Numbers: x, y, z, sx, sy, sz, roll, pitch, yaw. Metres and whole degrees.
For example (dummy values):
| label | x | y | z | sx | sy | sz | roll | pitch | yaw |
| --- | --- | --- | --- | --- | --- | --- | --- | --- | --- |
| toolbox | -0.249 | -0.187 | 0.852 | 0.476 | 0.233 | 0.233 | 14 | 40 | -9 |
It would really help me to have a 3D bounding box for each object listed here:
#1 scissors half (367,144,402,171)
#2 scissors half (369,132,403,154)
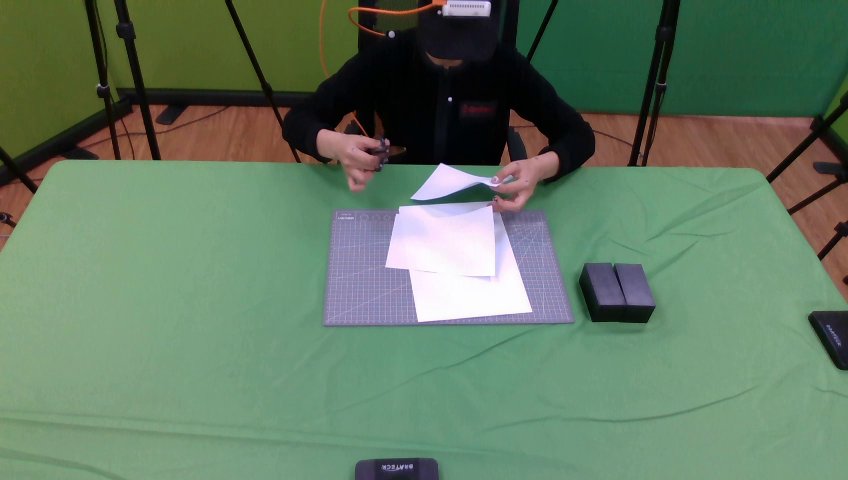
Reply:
| label | x | y | z | sx | sy | sz | roll | pitch | yaw |
| --- | --- | --- | --- | --- | --- | --- | --- | --- | --- |
| scissors half | -0.073 | -0.157 | 1.120 | 0.013 | 0.175 | 0.040 | 7 | 83 | -23 |
| scissors half | -0.071 | -0.177 | 1.120 | 0.013 | 0.040 | 0.174 | 1 | 12 | -23 |
